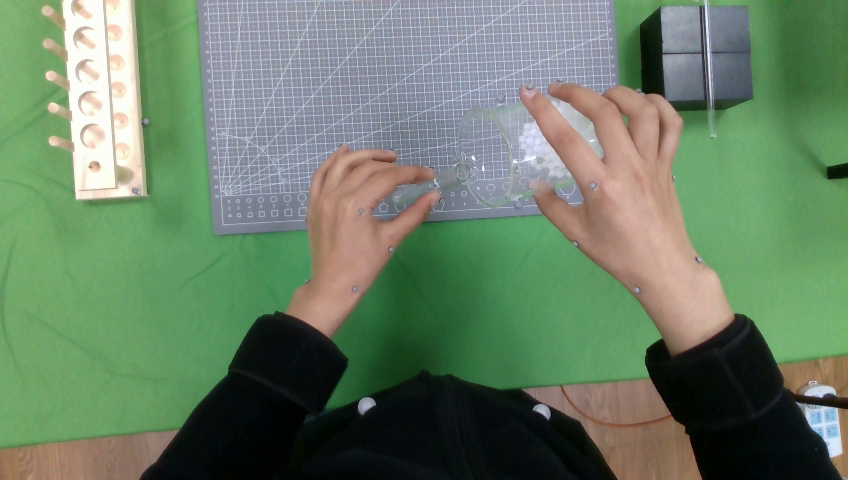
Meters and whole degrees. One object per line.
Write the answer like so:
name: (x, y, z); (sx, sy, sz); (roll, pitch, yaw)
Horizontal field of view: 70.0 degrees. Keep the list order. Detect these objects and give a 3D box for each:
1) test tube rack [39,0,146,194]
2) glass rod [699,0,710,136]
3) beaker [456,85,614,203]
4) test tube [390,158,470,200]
test tube rack: (-0.323, -0.170, 0.580); (0.067, 0.085, 0.242); (-4, 90, -6)
glass rod: (0.296, -0.210, 0.639); (0.008, 0.008, 0.199); (-2, 91, -6)
beaker: (0.084, -0.074, 0.457); (0.100, 0.084, 0.074); (-16, 87, -23)
test tube: (0.000, -0.052, 0.543); (0.017, 0.149, 0.017); (2, 85, -23)
